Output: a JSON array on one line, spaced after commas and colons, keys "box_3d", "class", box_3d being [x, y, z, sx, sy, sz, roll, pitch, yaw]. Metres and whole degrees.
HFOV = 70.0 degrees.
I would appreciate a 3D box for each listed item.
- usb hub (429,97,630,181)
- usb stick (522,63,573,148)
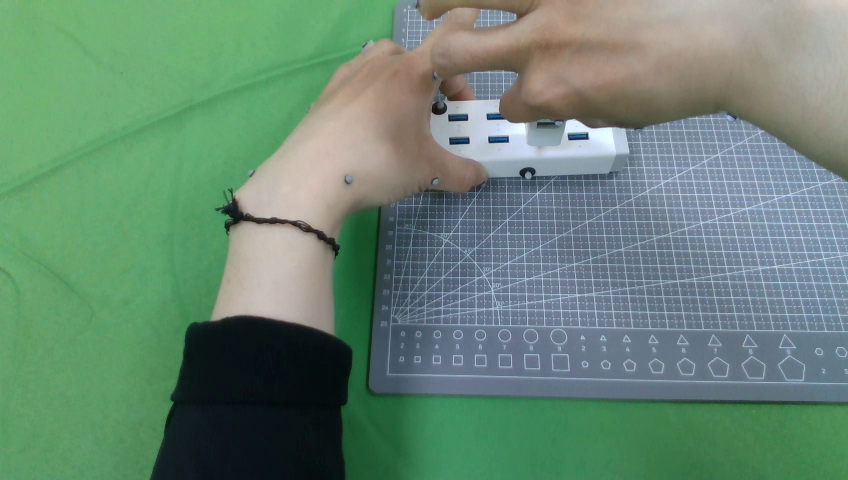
[{"box_3d": [0.066, -0.067, 0.396, 0.125, 0.025, 0.049, -2, 64, 0], "class": "usb hub"}, {"box_3d": [0.071, -0.073, 0.356, 0.021, 0.059, 0.027, 1, 59, 1], "class": "usb stick"}]
